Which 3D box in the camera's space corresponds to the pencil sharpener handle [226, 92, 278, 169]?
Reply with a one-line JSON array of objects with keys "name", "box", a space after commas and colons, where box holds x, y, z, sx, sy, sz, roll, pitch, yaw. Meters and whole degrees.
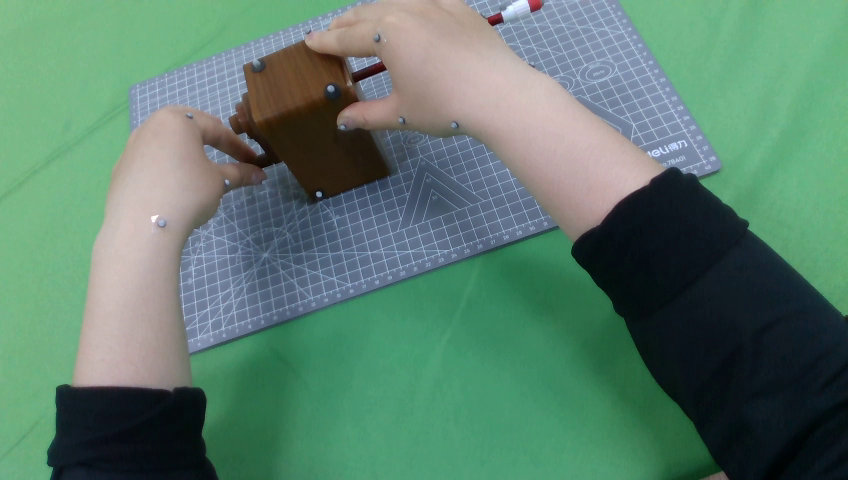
[{"name": "pencil sharpener handle", "box": [-0.131, -0.076, 0.444, 0.030, 0.068, 0.035, -22, 64, 2]}]

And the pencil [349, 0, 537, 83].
[{"name": "pencil", "box": [-0.012, -0.130, 0.425, 0.194, 0.012, 0.012, -22, 61, 3]}]

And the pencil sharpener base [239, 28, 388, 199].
[{"name": "pencil sharpener base", "box": [-0.081, -0.088, 0.452, 0.077, 0.108, 0.061, -22, 60, 2]}]
